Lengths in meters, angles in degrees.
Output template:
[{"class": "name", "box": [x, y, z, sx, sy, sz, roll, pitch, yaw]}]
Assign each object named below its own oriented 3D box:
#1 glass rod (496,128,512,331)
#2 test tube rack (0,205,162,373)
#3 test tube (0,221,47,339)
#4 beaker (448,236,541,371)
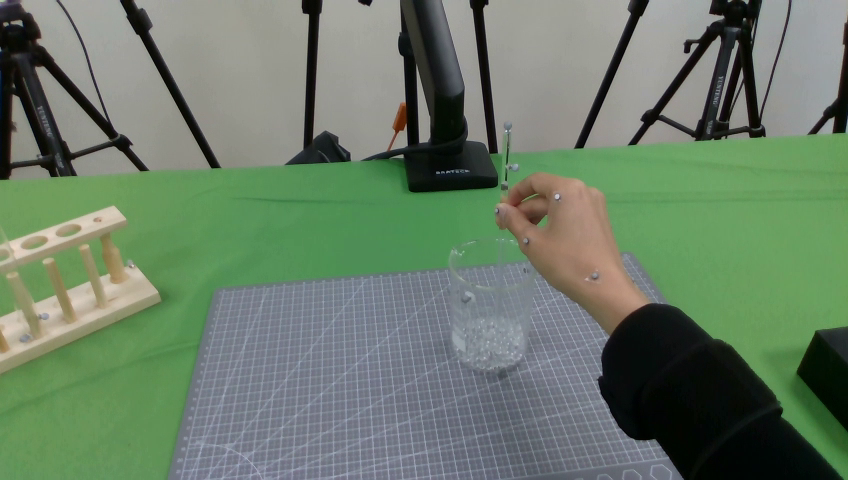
[{"class": "glass rod", "box": [0.067, 0.000, 0.512, 0.008, 0.201, 0.008, -1, 32, 1]}, {"class": "test tube rack", "box": [-0.376, 0.059, 0.541, 0.242, 0.086, 0.066, -27, 43, -33]}, {"class": "test tube", "box": [-0.351, 0.024, 0.512, 0.017, 0.151, 0.017, 1, 34, -1]}, {"class": "beaker", "box": [0.055, 0.056, 0.525, 0.083, 0.101, 0.074, 28, 44, 35]}]
